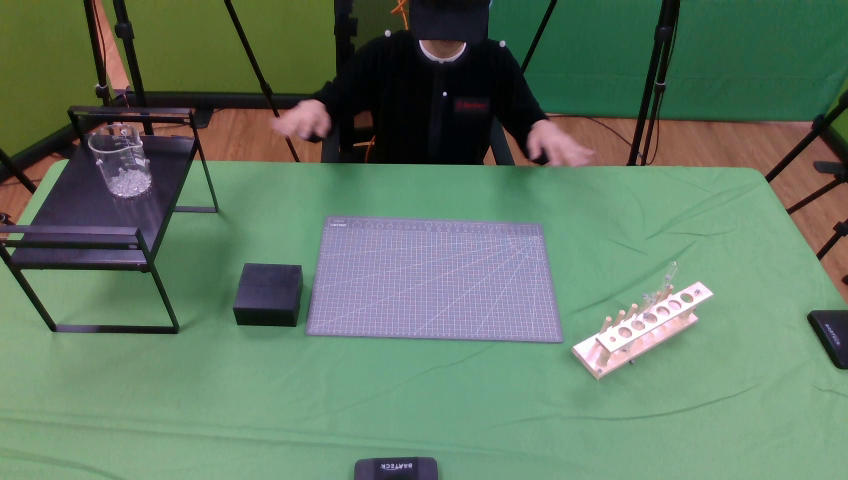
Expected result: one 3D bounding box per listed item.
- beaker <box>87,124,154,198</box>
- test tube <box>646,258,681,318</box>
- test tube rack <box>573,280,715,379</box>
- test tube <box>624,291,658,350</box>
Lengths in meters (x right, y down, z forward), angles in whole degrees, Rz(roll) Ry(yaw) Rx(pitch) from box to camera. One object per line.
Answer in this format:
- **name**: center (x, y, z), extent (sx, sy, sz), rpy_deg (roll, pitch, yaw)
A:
- **beaker**: center (-0.482, -0.124, 0.978), extent (0.084, 0.101, 0.073), rpy_deg (9, 46, 4)
- **test tube**: center (0.406, 0.084, 1.032), extent (0.017, 0.151, 0.017), rpy_deg (1, 47, -1)
- **test tube rack**: center (0.378, 0.140, 1.038), extent (0.242, 0.085, 0.066), rpy_deg (-22, 51, -23)
- **test tube**: center (0.348, 0.133, 0.974), extent (0.017, 0.151, 0.017), rpy_deg (1, 47, -1)
